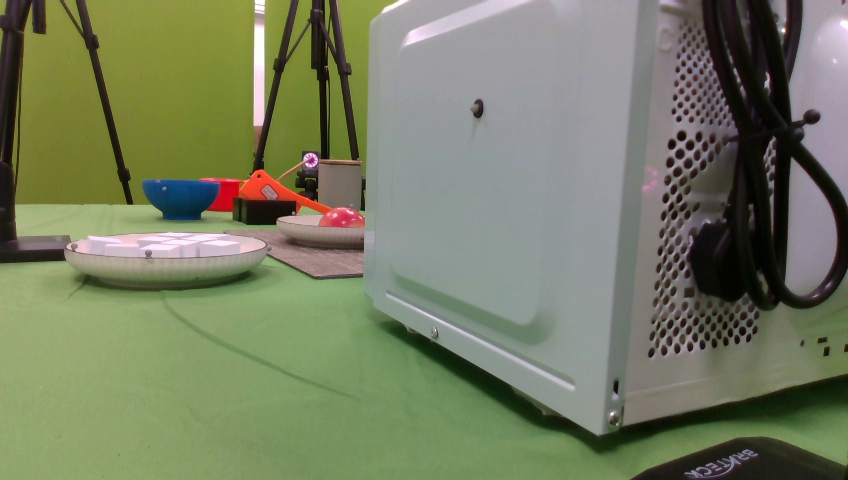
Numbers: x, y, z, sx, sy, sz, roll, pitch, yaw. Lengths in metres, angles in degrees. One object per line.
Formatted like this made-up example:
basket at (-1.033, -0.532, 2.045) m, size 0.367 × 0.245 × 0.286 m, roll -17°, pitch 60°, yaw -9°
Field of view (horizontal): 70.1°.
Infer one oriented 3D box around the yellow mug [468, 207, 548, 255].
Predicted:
yellow mug at (0.136, -0.015, 0.950) m, size 0.131 × 0.064 × 0.099 m, roll 3°, pitch 6°, yaw -20°

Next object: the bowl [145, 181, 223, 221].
bowl at (-0.499, -0.081, 1.261) m, size 0.151 × 0.077 × 0.151 m, roll 2°, pitch 8°, yaw 0°

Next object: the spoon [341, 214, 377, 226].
spoon at (-0.132, -0.047, 1.305) m, size 0.041 × 0.021 × 0.194 m, roll -14°, pitch 4°, yaw 14°

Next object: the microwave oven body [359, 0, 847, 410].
microwave oven body at (0.210, -0.050, 0.470) m, size 0.444 × 0.260 × 0.324 m, roll -1°, pitch 7°, yaw -28°

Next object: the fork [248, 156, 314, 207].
fork at (-0.360, -0.147, 1.523) m, size 0.207 × 0.019 × 0.028 m, roll -43°, pitch 17°, yaw -6°

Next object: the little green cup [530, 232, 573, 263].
little green cup at (0.185, 0.010, 0.879) m, size 0.061 × 0.038 × 0.061 m, roll 0°, pitch 8°, yaw 0°

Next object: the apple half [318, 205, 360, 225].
apple half at (-0.126, -0.029, 0.954) m, size 0.081 × 0.053 × 0.074 m, roll -2°, pitch 11°, yaw -33°

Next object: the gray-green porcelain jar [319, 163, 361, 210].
gray-green porcelain jar at (-0.204, -0.126, 1.490) m, size 0.106 × 0.126 × 0.106 m, roll 2°, pitch 8°, yaw 0°

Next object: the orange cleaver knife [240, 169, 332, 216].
orange cleaver knife at (-0.287, -0.082, 1.299) m, size 0.212 × 0.077 × 0.012 m, roll 25°, pitch -2°, yaw -31°

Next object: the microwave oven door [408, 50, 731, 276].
microwave oven door at (0.162, -0.085, 0.689) m, size 0.356 × 0.243 × 0.039 m, roll 1°, pitch 8°, yaw -3°

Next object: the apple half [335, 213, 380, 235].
apple half at (-0.112, -0.029, 1.034) m, size 0.081 × 0.033 × 0.081 m, roll 0°, pitch 9°, yaw 0°

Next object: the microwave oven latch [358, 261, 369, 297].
microwave oven latch at (-0.018, 0.033, 0.529) m, size 0.079 × 0.029 × 0.030 m, roll -1°, pitch 7°, yaw -28°

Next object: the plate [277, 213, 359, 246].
plate at (-0.135, -0.018, 0.993) m, size 0.209 × 0.038 × 0.209 m, roll 2°, pitch 7°, yaw 0°

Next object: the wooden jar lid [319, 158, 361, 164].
wooden jar lid at (-0.203, -0.189, 1.482) m, size 0.108 × 0.020 × 0.108 m, roll 2°, pitch 10°, yaw 0°

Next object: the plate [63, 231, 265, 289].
plate at (-0.288, 0.021, 0.687) m, size 0.208 × 0.039 × 0.207 m, roll 2°, pitch 8°, yaw 0°
